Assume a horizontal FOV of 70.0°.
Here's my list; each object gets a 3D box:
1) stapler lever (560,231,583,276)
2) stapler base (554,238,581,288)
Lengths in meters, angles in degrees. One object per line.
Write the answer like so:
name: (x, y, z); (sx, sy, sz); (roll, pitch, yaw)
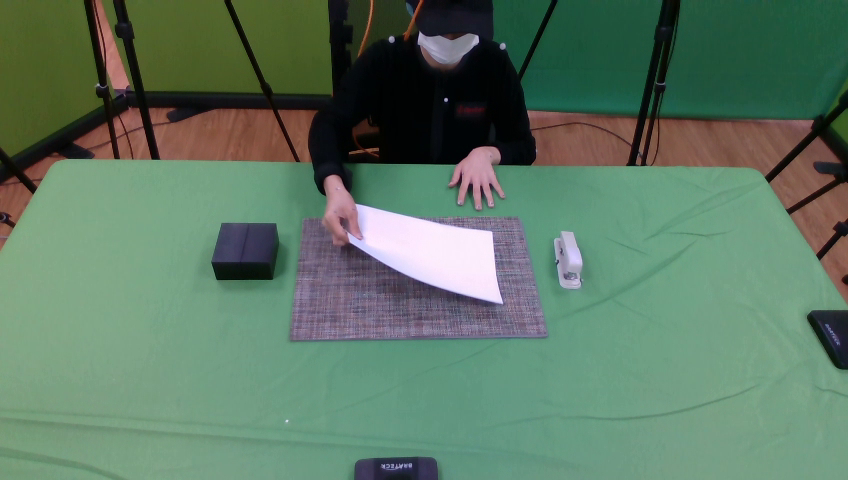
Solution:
stapler lever: (0.282, 0.019, 1.165); (0.027, 0.040, 0.117); (5, 44, -1)
stapler base: (0.282, 0.038, 1.182); (0.041, 0.024, 0.130); (5, 44, -1)
